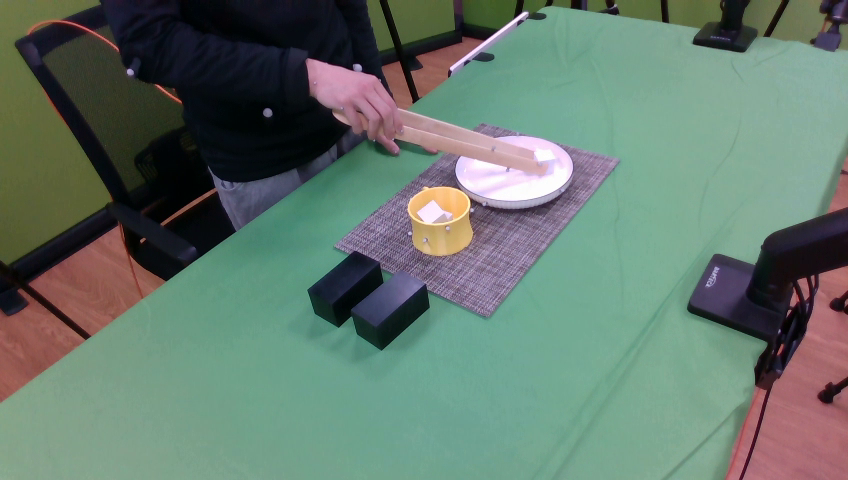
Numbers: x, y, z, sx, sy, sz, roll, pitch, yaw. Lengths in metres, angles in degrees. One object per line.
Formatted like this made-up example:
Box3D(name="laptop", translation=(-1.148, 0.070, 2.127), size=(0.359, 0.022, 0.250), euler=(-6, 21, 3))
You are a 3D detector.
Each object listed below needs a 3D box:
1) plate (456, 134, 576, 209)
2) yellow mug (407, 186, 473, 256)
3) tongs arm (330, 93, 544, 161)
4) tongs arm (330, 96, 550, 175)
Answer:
Box3D(name="plate", translation=(0.161, -0.116, 1.064), size=(0.207, 0.039, 0.206), euler=(-4, 40, 4))
Box3D(name="yellow mug", translation=(0.021, -0.041, 0.973), size=(0.100, 0.064, 0.129), euler=(-19, 41, -12))
Box3D(name="tongs arm", translation=(0.033, -0.183, 1.014), size=(0.390, 0.028, 0.028), euler=(12, 42, -21))
Box3D(name="tongs arm", translation=(0.037, -0.167, 0.996), size=(0.388, 0.026, 0.050), euler=(9, 40, -24))
